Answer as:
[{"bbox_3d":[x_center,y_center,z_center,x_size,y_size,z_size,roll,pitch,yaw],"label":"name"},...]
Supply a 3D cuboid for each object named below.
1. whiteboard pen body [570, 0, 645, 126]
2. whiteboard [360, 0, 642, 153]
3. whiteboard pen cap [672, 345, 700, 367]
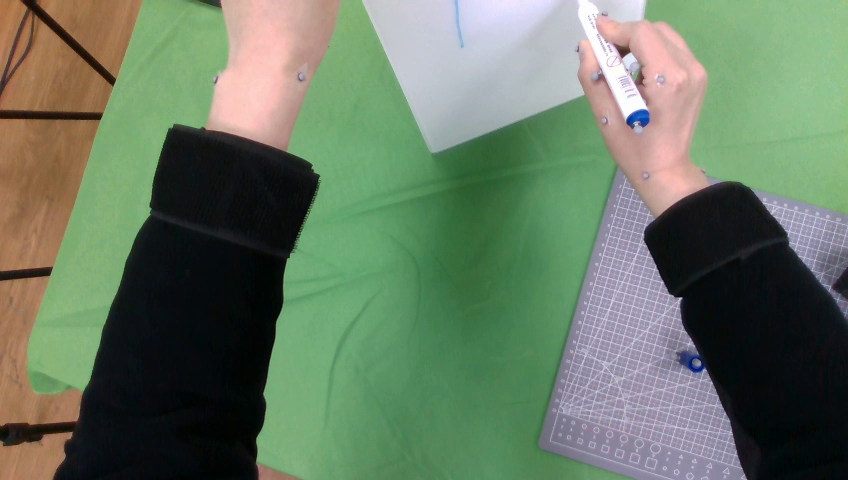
[{"bbox_3d":[0.126,-0.137,0.433,0.017,0.017,0.139,-16,59,5],"label":"whiteboard pen body"},{"bbox_3d":[0.052,-0.238,0.493,0.217,0.308,0.142,-20,68,6],"label":"whiteboard"},{"bbox_3d":[0.247,0.108,0.574,0.018,0.033,0.018,0,91,5],"label":"whiteboard pen cap"}]
